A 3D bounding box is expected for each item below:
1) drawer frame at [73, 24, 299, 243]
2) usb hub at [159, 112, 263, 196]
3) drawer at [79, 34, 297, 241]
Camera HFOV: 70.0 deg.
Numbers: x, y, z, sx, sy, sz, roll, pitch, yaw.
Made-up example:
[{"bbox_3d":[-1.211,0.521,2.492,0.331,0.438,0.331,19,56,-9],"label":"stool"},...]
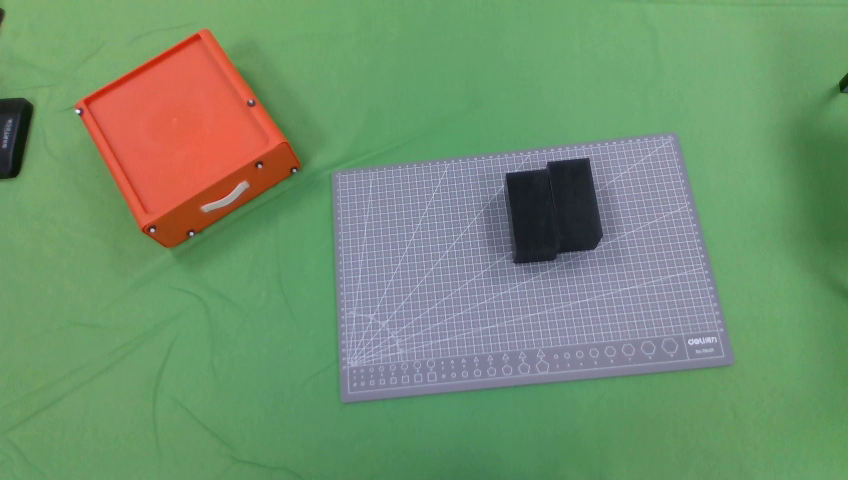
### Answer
[{"bbox_3d":[-0.305,-0.137,0.780,0.201,0.083,0.212,-35,72,-8],"label":"drawer frame"},{"bbox_3d":[-0.277,-0.113,0.787,0.125,0.025,0.049,-34,74,-6],"label":"usb hub"},{"bbox_3d":[-0.303,-0.137,0.781,0.194,0.074,0.210,-34,73,-7],"label":"drawer"}]
